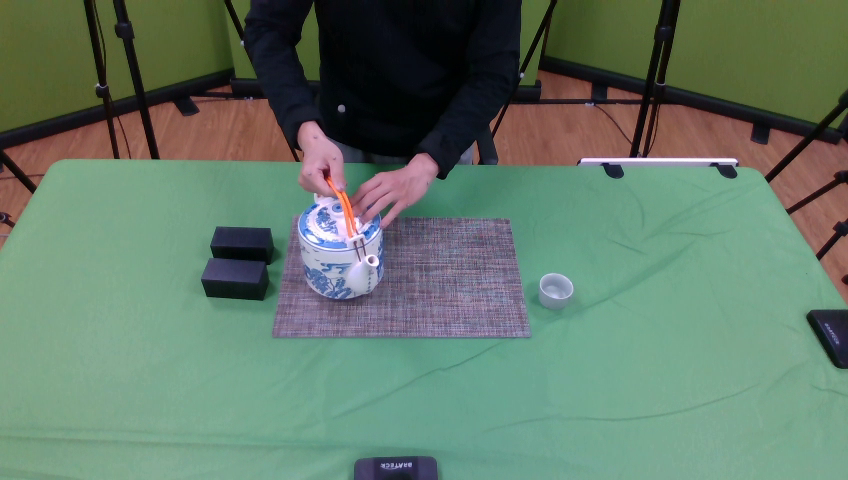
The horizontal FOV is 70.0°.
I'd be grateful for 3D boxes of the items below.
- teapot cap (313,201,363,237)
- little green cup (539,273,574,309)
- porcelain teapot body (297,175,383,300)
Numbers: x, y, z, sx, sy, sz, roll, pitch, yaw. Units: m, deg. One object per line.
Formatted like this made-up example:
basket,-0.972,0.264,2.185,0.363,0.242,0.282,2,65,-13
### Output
teapot cap,-0.146,-0.039,1.022,0.085,0.044,0.084,1,48,-1
little green cup,0.240,0.096,1.113,0.061,0.039,0.061,2,47,-2
porcelain teapot body,-0.129,0.006,1.033,0.145,0.226,0.204,-24,50,-25
